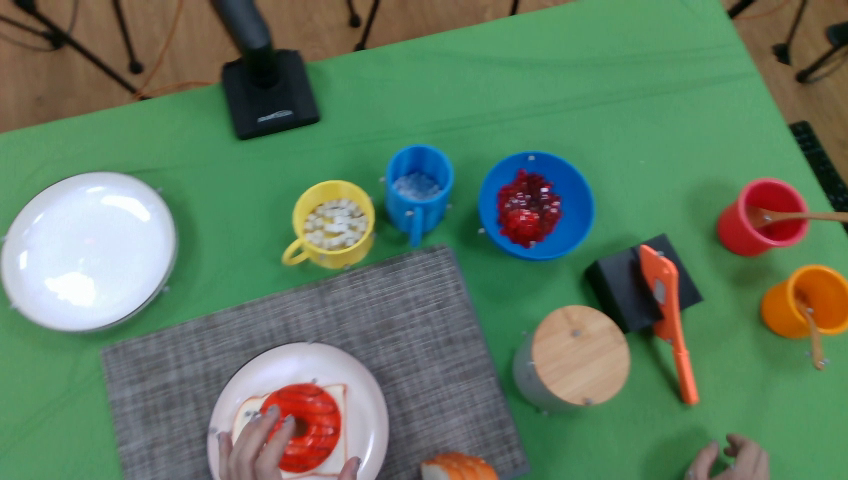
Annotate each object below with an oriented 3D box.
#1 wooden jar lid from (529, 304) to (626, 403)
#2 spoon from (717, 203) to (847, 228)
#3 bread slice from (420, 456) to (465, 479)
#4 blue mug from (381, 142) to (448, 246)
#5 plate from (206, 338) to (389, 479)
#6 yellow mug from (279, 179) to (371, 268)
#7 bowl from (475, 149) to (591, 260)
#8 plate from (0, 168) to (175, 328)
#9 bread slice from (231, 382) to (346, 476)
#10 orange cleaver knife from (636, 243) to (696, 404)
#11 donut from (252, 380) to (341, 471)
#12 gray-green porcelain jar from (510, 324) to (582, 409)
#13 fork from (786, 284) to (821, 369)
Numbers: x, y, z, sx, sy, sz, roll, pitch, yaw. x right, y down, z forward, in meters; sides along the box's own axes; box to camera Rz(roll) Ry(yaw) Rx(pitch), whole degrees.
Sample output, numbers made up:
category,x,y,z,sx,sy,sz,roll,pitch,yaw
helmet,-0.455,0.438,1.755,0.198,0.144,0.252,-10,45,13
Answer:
category,x,y,z,sx,sy,sz,roll,pitch,yaw
wooden jar lid,0.166,0.124,0.662,0.108,0.021,0.107,2,72,-7
spoon,0.491,-0.032,0.799,0.022,0.192,0.041,46,60,-37
bread slice,0.025,0.287,0.657,0.018,0.135,0.106,-8,70,-16
blue mug,-0.015,-0.050,0.783,0.082,0.106,0.116,3,71,-4
plate,-0.144,0.221,0.711,0.209,0.038,0.207,2,71,-4
yellow mug,-0.131,-0.011,0.780,0.131,0.064,0.099,-38,77,-14
bowl,0.137,-0.036,0.805,0.151,0.077,0.150,2,71,-4
plate,-0.417,0.010,0.762,0.208,0.039,0.206,2,71,-4
bread slice,-0.158,0.224,0.711,0.132,0.019,0.104,-3,71,-9
orange cleaver knife,0.306,0.106,0.770,0.012,0.076,0.212,-19,104,-10
donut,-0.144,0.209,0.686,0.099,0.048,0.098,3,72,-8
gray-green porcelain jar,0.163,0.145,0.721,0.106,0.127,0.105,2,71,-4
fork,0.471,0.103,0.750,0.028,0.018,0.207,45,29,3
